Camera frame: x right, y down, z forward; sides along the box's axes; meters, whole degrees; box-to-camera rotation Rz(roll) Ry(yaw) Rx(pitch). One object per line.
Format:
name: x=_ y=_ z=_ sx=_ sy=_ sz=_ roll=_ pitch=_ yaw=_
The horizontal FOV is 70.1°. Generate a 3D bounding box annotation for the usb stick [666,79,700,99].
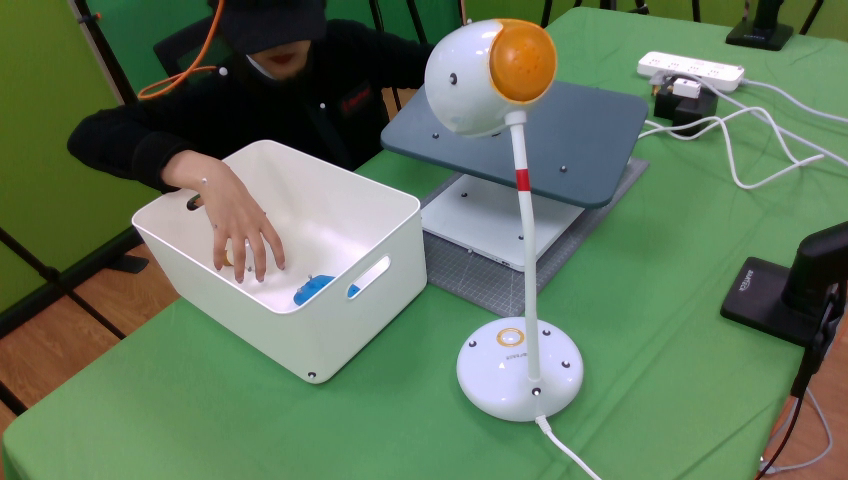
usb stick: x=0.492 y=-0.288 z=1.152 sx=0.058 sy=0.027 sz=0.021 roll=20 pitch=50 yaw=34

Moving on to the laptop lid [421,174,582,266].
laptop lid: x=0.172 y=-0.093 z=1.049 sx=0.239 sy=0.013 sz=0.358 roll=23 pitch=50 yaw=36

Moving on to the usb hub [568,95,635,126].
usb hub: x=0.360 y=-0.264 z=1.228 sx=0.124 sy=0.025 sz=0.049 roll=25 pitch=50 yaw=34

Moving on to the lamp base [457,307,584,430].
lamp base: x=0.115 y=0.108 z=0.713 sx=0.161 sy=0.181 sz=0.178 roll=-17 pitch=43 yaw=-8

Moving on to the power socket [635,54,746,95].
power socket: x=0.564 y=-0.357 z=1.293 sx=0.225 sy=0.033 sz=0.072 roll=24 pitch=51 yaw=33

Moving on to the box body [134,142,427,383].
box body: x=-0.201 y=0.018 z=0.896 sx=0.361 sy=0.161 sz=0.255 roll=23 pitch=50 yaw=33

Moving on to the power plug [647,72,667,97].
power plug: x=0.494 y=-0.320 z=1.260 sx=0.073 sy=0.052 sz=0.035 roll=1 pitch=19 yaw=-41

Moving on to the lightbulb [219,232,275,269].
lightbulb: x=-0.292 y=0.022 z=0.988 sx=0.107 sy=0.060 sz=0.059 roll=-13 pitch=36 yaw=26

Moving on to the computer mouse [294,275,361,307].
computer mouse: x=-0.138 y=0.084 z=0.891 sx=0.116 sy=0.041 sz=0.063 roll=19 pitch=49 yaw=37

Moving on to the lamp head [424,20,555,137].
lamp head: x=0.069 y=-0.153 z=0.572 sx=0.113 sy=0.112 sz=0.122 roll=-21 pitch=16 yaw=-14

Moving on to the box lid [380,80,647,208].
box lid: x=0.144 y=-0.181 z=0.952 sx=0.369 sy=0.015 sz=0.263 roll=18 pitch=53 yaw=19

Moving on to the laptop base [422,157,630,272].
laptop base: x=0.176 y=-0.083 z=1.055 sx=0.233 sy=0.023 sz=0.355 roll=21 pitch=48 yaw=36
